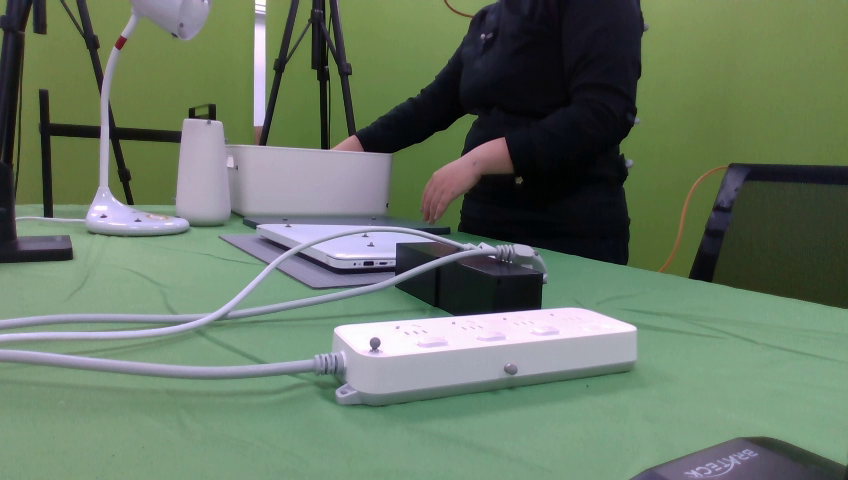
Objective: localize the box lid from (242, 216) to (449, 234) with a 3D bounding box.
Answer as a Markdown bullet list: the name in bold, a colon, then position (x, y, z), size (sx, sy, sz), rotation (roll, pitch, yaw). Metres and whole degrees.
- **box lid**: position (-0.162, -0.030, 1.233), size (0.373, 0.015, 0.262), rotation (-1, 8, -32)

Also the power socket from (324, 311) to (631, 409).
- **power socket**: position (0.042, 0.075, 0.410), size (0.228, 0.032, 0.072), rotation (-1, 8, -25)

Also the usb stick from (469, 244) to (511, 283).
- **usb stick**: position (0.080, 0.029, 0.674), size (0.059, 0.021, 0.027), rotation (28, 25, -29)

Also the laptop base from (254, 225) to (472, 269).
- **laptop base**: position (-0.095, 0.011, 0.912), size (0.237, 0.023, 0.352), rotation (3, 6, -32)

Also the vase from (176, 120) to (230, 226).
- **vase**: position (-0.425, -0.128, 1.159), size (0.098, 0.200, 0.098), rotation (2, 9, 0)

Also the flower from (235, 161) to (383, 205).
- **flower**: position (-0.276, -0.131, 1.471), size (0.363, 0.038, 0.044), rotation (14, 8, -10)

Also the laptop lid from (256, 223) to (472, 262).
- **laptop lid**: position (-0.092, 0.000, 0.912), size (0.243, 0.013, 0.355), rotation (1, 7, -30)

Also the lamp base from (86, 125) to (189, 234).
- **lamp base**: position (-0.497, -0.105, 1.027), size (0.179, 0.180, 0.160), rotation (1, 7, 3)

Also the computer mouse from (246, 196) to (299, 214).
- **computer mouse**: position (-0.354, -0.083, 1.418), size (0.117, 0.041, 0.063), rotation (0, 10, 7)

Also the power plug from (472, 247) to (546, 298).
- **power plug**: position (0.081, 0.030, 0.584), size (0.072, 0.052, 0.035), rotation (11, 28, 9)

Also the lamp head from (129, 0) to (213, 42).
- **lamp head**: position (-0.423, -0.394, 0.980), size (0.123, 0.112, 0.112), rotation (20, 7, -3)

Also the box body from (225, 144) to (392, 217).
- **box body**: position (-0.289, -0.143, 1.475), size (0.366, 0.160, 0.253), rotation (-1, 9, -29)

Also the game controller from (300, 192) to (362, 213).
- **game controller**: position (-0.241, -0.097, 1.550), size (0.155, 0.051, 0.097), rotation (2, 7, 4)
